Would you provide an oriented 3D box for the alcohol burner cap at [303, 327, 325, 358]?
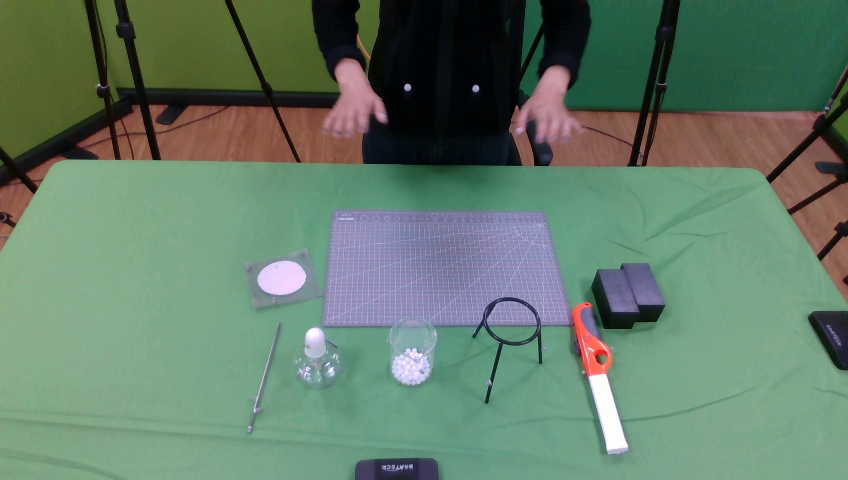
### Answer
[{"bbox_3d":[-0.169,0.154,0.925,0.034,0.048,0.033,4,41,-3],"label":"alcohol burner cap"}]

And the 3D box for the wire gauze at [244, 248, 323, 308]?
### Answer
[{"bbox_3d":[-0.262,0.071,1.121,0.125,0.011,0.120,-11,48,-17],"label":"wire gauze"}]

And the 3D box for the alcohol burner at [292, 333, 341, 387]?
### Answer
[{"bbox_3d":[-0.170,0.179,0.950,0.078,0.120,0.077,2,48,-2],"label":"alcohol burner"}]

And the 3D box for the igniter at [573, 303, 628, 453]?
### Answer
[{"bbox_3d":[0.288,0.216,1.006,0.057,0.025,0.274,-10,46,8],"label":"igniter"}]

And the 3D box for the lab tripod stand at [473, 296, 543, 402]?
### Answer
[{"bbox_3d":[0.132,0.168,0.969,0.148,0.132,0.147,3,48,-3],"label":"lab tripod stand"}]

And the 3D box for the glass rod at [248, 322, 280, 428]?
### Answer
[{"bbox_3d":[-0.258,0.213,0.984,0.008,0.008,0.198,4,46,0],"label":"glass rod"}]

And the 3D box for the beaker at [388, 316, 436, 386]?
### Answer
[{"bbox_3d":[-0.019,0.183,0.968,0.074,0.101,0.083,-7,48,-10],"label":"beaker"}]
